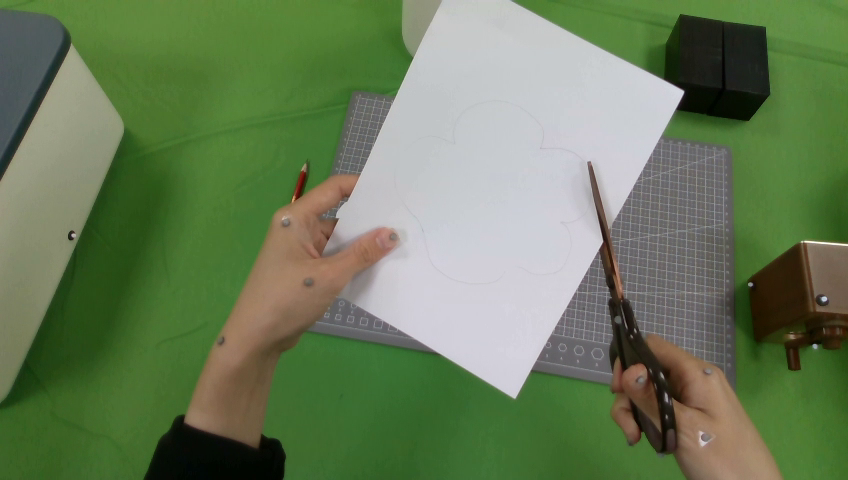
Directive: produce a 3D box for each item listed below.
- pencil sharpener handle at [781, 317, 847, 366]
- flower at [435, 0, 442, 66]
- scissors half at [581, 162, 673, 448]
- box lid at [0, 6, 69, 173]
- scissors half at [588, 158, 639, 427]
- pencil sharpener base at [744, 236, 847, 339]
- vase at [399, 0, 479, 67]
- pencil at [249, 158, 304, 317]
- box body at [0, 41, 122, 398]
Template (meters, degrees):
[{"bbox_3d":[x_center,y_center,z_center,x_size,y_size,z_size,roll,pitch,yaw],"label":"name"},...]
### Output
[{"bbox_3d":[0.354,0.094,0.549,0.036,0.068,0.030,10,67,-10],"label":"pencil sharpener handle"},{"bbox_3d":[0.012,-0.334,0.601,0.044,0.365,0.038,2,49,5],"label":"flower"},{"bbox_3d":[0.118,0.034,0.360,0.013,0.040,0.174,-12,75,-3],"label":"scissors half"},{"bbox_3d":[-0.491,-0.069,0.516,0.263,0.015,0.369,10,67,3],"label":"box lid"},{"bbox_3d":[0.119,0.035,0.382,0.013,0.040,0.176,-12,102,2],"label":"scissors half"},{"bbox_3d":[0.363,0.052,0.580,0.061,0.108,0.076,5,67,2],"label":"pencil sharpener base"},{"bbox_3d":[0.017,-0.288,0.672,0.098,0.201,0.097,0,66,1],"label":"vase"},{"bbox_3d":[-0.157,-0.009,0.658,0.012,0.012,0.192,10,65,4],"label":"pencil"},{"bbox_3d":[-0.491,-0.037,0.584,0.254,0.161,0.361,9,67,4],"label":"box body"}]
